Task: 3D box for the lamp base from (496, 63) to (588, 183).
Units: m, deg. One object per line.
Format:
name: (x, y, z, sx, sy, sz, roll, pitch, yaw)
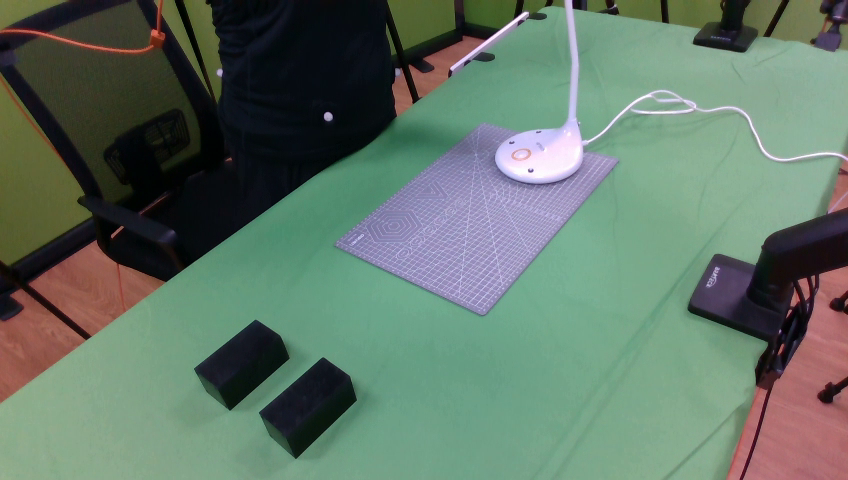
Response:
lamp base: (0.216, -0.217, 1.067, 0.180, 0.181, 0.159, -20, 42, -18)
